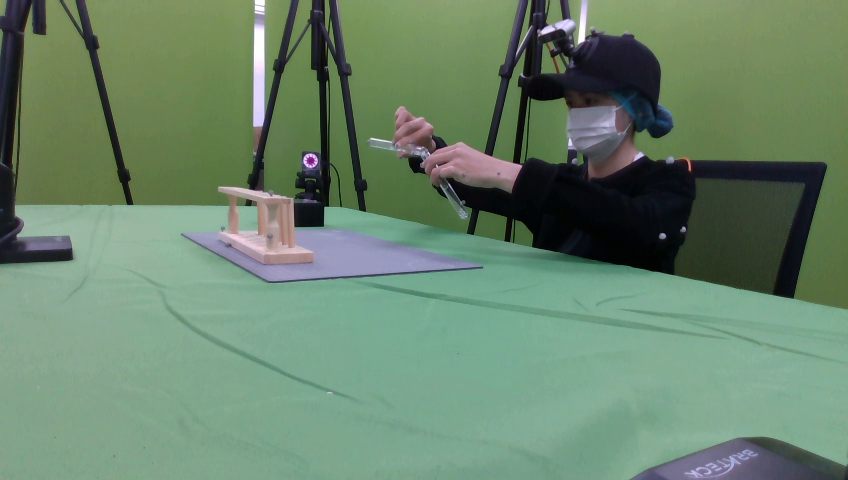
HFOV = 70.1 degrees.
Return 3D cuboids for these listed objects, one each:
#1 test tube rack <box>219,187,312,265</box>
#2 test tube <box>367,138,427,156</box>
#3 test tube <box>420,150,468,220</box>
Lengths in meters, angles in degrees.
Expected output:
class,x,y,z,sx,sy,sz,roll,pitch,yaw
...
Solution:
class,x,y,z,sx,sy,sz,roll,pitch,yaw
test tube rack,-0.235,-0.027,0.872,0.067,0.085,0.241,-2,8,-31
test tube,-0.052,-0.168,1.087,0.149,0.017,0.017,18,16,42
test tube,0.033,-0.093,1.007,0.017,0.017,0.150,-5,55,-44
